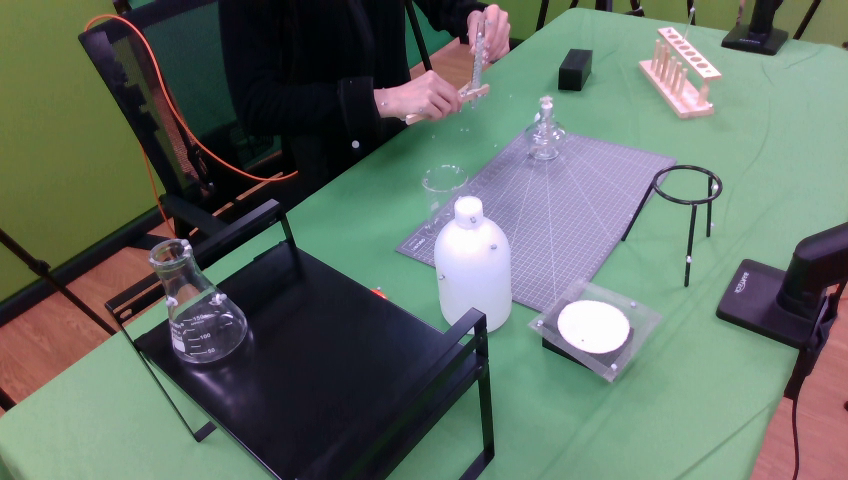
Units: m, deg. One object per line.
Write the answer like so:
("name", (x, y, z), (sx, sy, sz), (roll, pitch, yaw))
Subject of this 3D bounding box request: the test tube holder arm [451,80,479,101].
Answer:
("test tube holder arm", (0.070, -0.250, 1.032), (0.010, 0.015, 0.088), (21, 45, 22))

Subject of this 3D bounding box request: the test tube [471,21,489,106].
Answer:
("test tube", (0.092, -0.292, 1.010), (0.017, 0.150, 0.017), (2, 44, -1))

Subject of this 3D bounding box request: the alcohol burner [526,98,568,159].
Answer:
("alcohol burner", (0.228, -0.210, 1.118), (0.078, 0.119, 0.077), (-5, 43, 5))

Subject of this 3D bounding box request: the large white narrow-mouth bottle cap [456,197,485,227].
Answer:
("large white narrow-mouth bottle cap", (0.058, -0.035, 0.750), (0.038, 0.024, 0.037), (-4, 40, 4))

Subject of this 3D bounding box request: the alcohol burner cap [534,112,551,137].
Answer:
("alcohol burner cap", (0.235, -0.231, 1.197), (0.034, 0.048, 0.033), (-5, 38, 5))

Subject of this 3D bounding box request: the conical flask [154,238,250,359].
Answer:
("conical flask", (-0.225, 0.055, 0.597), (0.075, 0.122, 0.075), (-5, 41, 4))

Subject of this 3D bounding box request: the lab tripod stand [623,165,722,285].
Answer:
("lab tripod stand", (0.365, -0.030, 0.874), (0.148, 0.132, 0.147), (-6, 41, 6))

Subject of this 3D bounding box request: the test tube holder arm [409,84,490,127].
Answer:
("test tube holder arm", (0.045, -0.225, 1.004), (0.179, 0.015, 0.013), (-32, 49, -31))

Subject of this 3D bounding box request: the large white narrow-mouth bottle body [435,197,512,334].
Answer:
("large white narrow-mouth bottle body", (0.066, 0.028, 0.805), (0.102, 0.195, 0.101), (-4, 40, 4))

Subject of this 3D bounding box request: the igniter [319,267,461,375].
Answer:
("igniter", (-0.060, 0.108, 0.862), (0.274, 0.025, 0.057), (29, 63, 35))

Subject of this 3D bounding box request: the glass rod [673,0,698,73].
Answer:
("glass rod", (0.537, -0.425, 1.244), (0.008, 0.200, 0.008), (0, 47, 0))

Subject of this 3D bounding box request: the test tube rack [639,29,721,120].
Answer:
("test tube rack", (0.527, -0.351, 1.262), (0.067, 0.085, 0.241), (-8, 40, 1))

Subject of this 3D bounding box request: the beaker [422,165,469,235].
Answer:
("beaker", (0.041, -0.063, 0.986), (0.073, 0.101, 0.084), (20, 47, 29))

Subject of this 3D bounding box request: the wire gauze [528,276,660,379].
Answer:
("wire gauze", (0.214, 0.103, 0.763), (0.124, 0.011, 0.122), (30, 52, 35))
